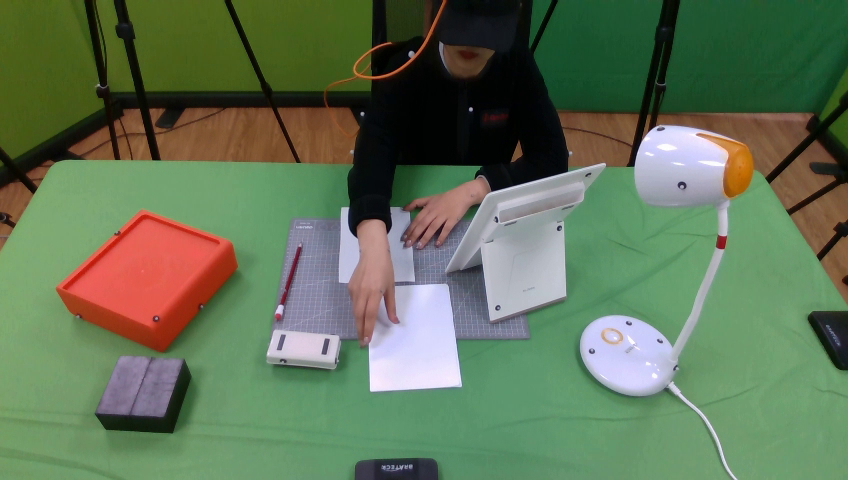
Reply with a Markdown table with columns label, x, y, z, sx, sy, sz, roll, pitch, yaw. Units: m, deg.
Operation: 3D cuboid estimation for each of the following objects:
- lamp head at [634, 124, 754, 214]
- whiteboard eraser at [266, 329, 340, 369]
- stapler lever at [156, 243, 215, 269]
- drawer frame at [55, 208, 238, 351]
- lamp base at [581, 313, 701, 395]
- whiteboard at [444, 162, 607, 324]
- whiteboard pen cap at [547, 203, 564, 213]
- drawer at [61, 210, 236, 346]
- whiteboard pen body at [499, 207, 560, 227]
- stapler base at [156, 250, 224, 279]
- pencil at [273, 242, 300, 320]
| label | x | y | z | sx | sy | sz | roll | pitch | yaw |
| --- | --- | --- | --- | --- | --- | --- | --- | --- | --- |
| lamp head | 0.351 | -0.089 | 0.776 | 0.112 | 0.113 | 0.122 | -30 | 30 | -28 |
| whiteboard eraser | -0.198 | 0.181 | 0.994 | 0.113 | 0.042 | 0.055 | 5 | 45 | 1 |
| stapler lever | -0.433 | 0.023 | 1.097 | 0.118 | 0.040 | 0.026 | 14 | 39 | 14 |
| drawer frame | -0.474 | 0.062 | 1.059 | 0.201 | 0.083 | 0.213 | 18 | 48 | 12 |
| lamp base | 0.361 | 0.144 | 0.973 | 0.178 | 0.181 | 0.160 | 34 | 53 | 23 |
| whiteboard | 0.186 | 0.025 | 1.029 | 0.217 | 0.306 | 0.143 | -15 | 68 | -18 |
| whiteboard pen cap | 0.277 | -0.066 | 1.275 | 0.033 | 0.018 | 0.018 | -18 | 50 | -15 |
| drawer | -0.474 | 0.061 | 1.063 | 0.194 | 0.073 | 0.211 | 19 | 49 | 13 |
| whiteboard pen body | 0.222 | -0.051 | 1.260 | 0.141 | 0.017 | 0.017 | -15 | 49 | -16 |
| stapler base | -0.431 | 0.040 | 1.111 | 0.130 | 0.024 | 0.041 | 11 | 38 | 17 |
| pencil | -0.249 | 0.071 | 1.115 | 0.012 | 0.012 | 0.193 | 5 | 43 | 1 |
